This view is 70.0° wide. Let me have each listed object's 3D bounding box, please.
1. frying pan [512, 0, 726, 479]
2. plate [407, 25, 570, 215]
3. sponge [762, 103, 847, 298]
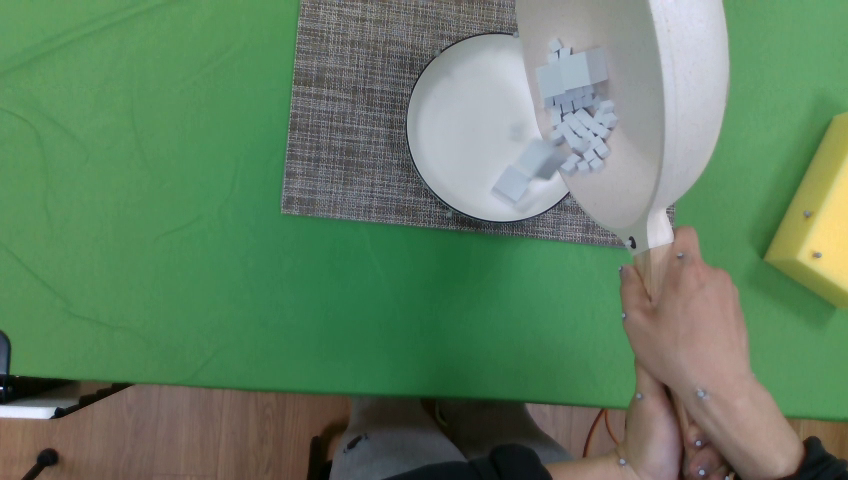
[{"bbox_3d":[0.164,-0.058,0.484,0.103,0.307,0.486,-9,83,0],"label":"frying pan"},{"bbox_3d":[0.083,-0.129,0.668,0.208,0.039,0.207,0,89,-7],"label":"plate"},{"bbox_3d":[0.509,-0.048,0.715,0.118,0.061,0.206,29,86,-5],"label":"sponge"}]
